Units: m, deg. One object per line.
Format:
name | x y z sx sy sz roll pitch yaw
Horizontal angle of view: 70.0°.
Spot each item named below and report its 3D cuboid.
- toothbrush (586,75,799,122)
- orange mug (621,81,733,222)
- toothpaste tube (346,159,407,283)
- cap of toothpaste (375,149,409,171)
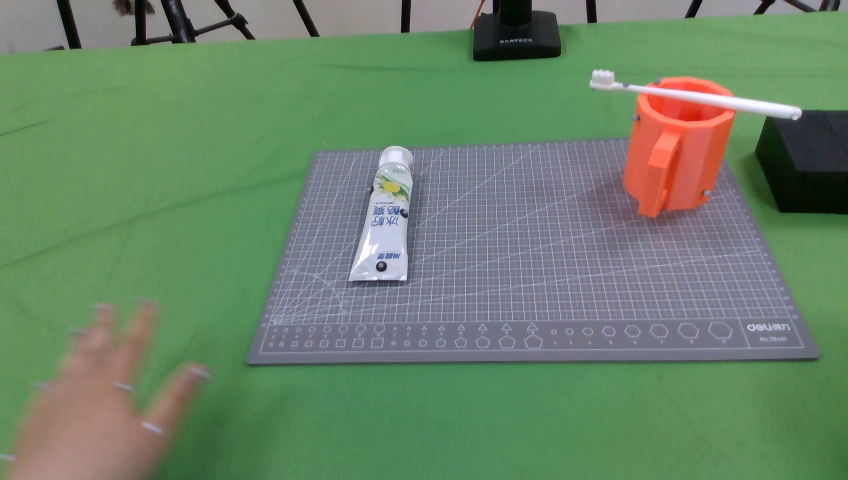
toothbrush | 0.237 -0.128 0.546 0.181 0.017 0.014 16 42 22
orange mug | 0.231 -0.079 0.572 0.083 0.102 0.126 19 45 26
toothpaste tube | -0.041 -0.024 0.599 0.055 0.035 0.163 -5 47 9
cap of toothpaste | -0.034 -0.081 0.649 0.037 0.038 0.011 1 50 8
